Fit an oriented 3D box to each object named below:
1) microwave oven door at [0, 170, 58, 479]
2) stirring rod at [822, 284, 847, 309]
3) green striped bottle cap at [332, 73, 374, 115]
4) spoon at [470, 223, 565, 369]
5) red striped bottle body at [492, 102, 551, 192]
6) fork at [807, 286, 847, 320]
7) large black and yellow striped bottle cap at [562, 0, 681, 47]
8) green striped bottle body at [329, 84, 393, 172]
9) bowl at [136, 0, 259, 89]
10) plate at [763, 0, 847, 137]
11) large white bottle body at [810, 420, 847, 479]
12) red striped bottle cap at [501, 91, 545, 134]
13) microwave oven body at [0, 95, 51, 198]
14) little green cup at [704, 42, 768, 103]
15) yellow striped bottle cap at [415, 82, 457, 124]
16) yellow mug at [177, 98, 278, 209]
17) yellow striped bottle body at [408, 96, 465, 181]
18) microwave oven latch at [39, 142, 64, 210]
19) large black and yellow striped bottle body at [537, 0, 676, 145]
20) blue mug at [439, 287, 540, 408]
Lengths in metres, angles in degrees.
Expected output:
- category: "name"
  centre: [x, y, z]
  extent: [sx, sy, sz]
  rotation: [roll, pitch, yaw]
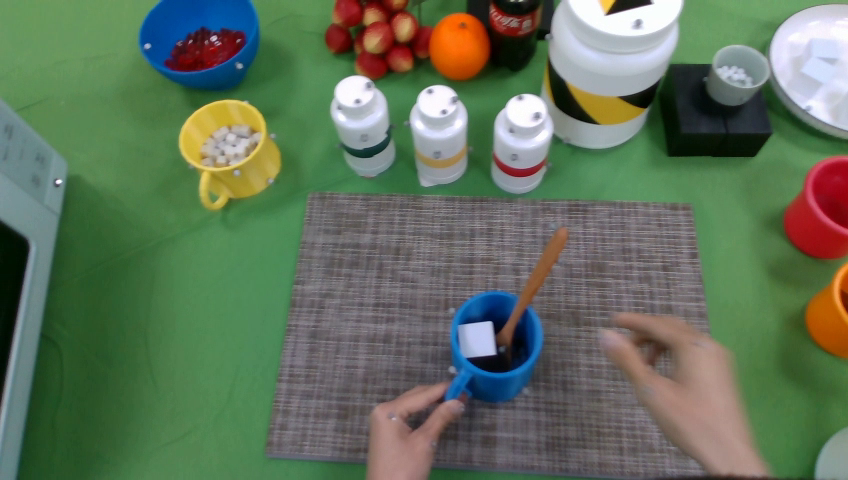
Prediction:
- category: "microwave oven door"
  centre: [-0.434, 0.079, 0.532]
  extent: [0.039, 0.246, 0.352]
  rotation: [-7, 65, 1]
- category: "stirring rod"
  centre: [0.423, 0.082, 0.564]
  extent: [0.014, 0.006, 0.175]
  rotation: [5, 22, 2]
- category: "green striped bottle cap"
  centre: [-0.077, -0.158, 0.652]
  extent: [0.044, 0.020, 0.044]
  rotation: [0, 65, 1]
- category: "spoon"
  centre: [0.086, 0.065, 0.556]
  extent: [0.041, 0.195, 0.022]
  rotation: [40, 41, 25]
- category: "red striped bottle body"
  centre: [0.107, -0.110, 0.678]
  extent: [0.063, 0.120, 0.062]
  rotation: [-2, 63, 5]
- category: "fork"
  centre: [0.453, 0.084, 0.554]
  extent: [0.028, 0.019, 0.205]
  rotation: [-34, 24, -12]
- category: "large black and yellow striped bottle cap"
  centre: [0.197, -0.243, 0.606]
  extent: [0.115, 0.019, 0.114]
  rotation: [-1, 64, 3]
- category: "green striped bottle body"
  centre: [-0.072, -0.135, 0.699]
  extent: [0.063, 0.120, 0.062]
  rotation: [-1, 65, 3]
- category: "bowl"
  centre: [-0.280, -0.251, 0.786]
  extent: [0.151, 0.077, 0.150]
  rotation: [-1, 65, 2]
- category: "plate"
  centre: [0.522, -0.209, 0.747]
  extent: [0.209, 0.038, 0.207]
  rotation: [-1, 66, 3]
- category: "large white bottle body"
  centre: [0.421, 0.195, 0.484]
  extent: [0.130, 0.186, 0.129]
  rotation: [-1, 65, 3]
- category: "red striped bottle cap"
  centre: [0.103, -0.133, 0.631]
  extent: [0.044, 0.018, 0.044]
  rotation: [1, 64, -1]
- category: "microwave oven body"
  centre: [-0.583, 0.060, 0.554]
  extent: [0.326, 0.262, 0.438]
  rotation: [-7, 66, 0]
- category: "little green cup"
  centre: [0.352, -0.189, 0.690]
  extent: [0.061, 0.039, 0.061]
  rotation: [0, 63, 1]
- category: "yellow striped bottle cap"
  centre: [0.013, -0.146, 0.642]
  extent: [0.044, 0.019, 0.044]
  rotation: [-1, 66, 2]
- category: "yellow mug"
  centre: [-0.237, -0.097, 0.719]
  extent: [0.100, 0.064, 0.130]
  rotation: [12, 67, 7]
- category: "yellow striped bottle body"
  centre: [0.016, -0.124, 0.689]
  extent: [0.063, 0.121, 0.062]
  rotation: [-1, 64, 3]
- category: "microwave oven latch"
  centre: [-0.449, -0.075, 0.716]
  extent: [0.030, 0.030, 0.078]
  rotation: [-5, 66, 0]
- category: "large black and yellow striped bottle body"
  centre: [0.202, -0.208, 0.683]
  extent: [0.131, 0.185, 0.129]
  rotation: [-1, 65, 3]
- category: "blue mug"
  centre: [0.054, 0.114, 0.581]
  extent: [0.082, 0.106, 0.116]
  rotation: [37, 72, 19]
